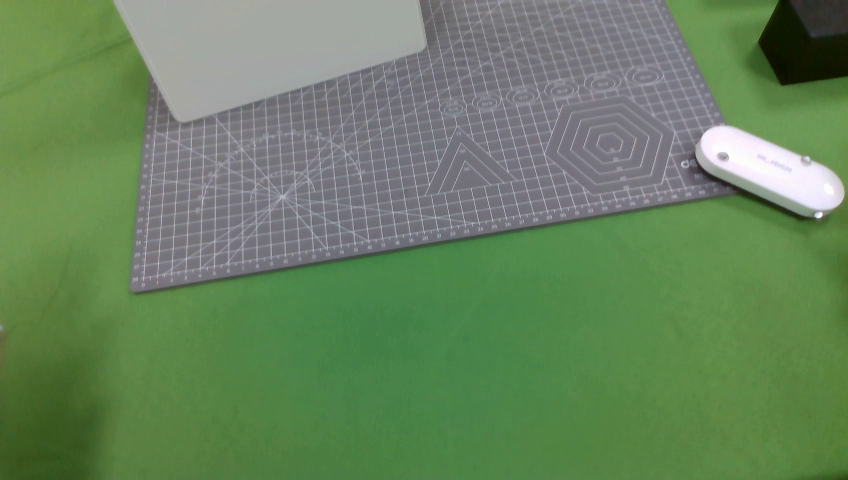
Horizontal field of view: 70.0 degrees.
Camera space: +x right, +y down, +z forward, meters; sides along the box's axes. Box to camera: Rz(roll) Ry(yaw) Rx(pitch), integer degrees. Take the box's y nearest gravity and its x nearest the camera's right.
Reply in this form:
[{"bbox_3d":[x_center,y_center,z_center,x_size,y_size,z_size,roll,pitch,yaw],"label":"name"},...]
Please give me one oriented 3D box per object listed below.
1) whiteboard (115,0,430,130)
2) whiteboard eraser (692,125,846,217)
[{"bbox_3d":[-0.141,-0.277,0.450,0.217,0.308,0.142,-18,42,-5],"label":"whiteboard"},{"bbox_3d":[0.243,-0.049,0.428,0.101,0.019,0.041,28,66,15],"label":"whiteboard eraser"}]
